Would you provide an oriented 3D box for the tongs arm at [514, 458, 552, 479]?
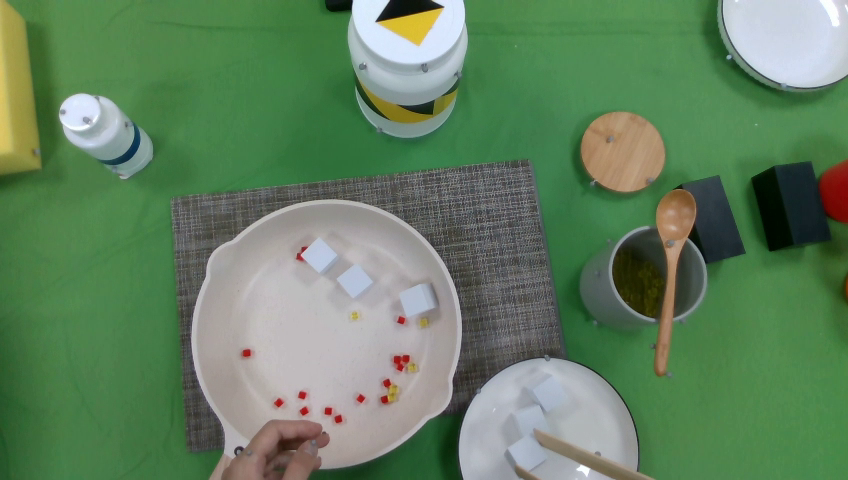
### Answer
[{"bbox_3d":[0.243,0.269,0.516,0.051,0.381,0.027,-37,128,-31],"label":"tongs arm"}]

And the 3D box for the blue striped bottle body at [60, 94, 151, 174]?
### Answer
[{"bbox_3d":[-0.366,-0.123,0.694,0.063,0.121,0.063,1,79,-3],"label":"blue striped bottle body"}]

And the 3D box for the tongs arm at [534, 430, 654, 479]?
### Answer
[{"bbox_3d":[0.260,0.254,0.530,0.028,0.384,0.028,-37,127,-35],"label":"tongs arm"}]

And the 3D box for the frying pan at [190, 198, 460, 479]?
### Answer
[{"bbox_3d":[-0.163,0.181,0.655,0.306,0.103,0.486,33,71,4],"label":"frying pan"}]

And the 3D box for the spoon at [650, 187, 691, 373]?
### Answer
[{"bbox_3d":[0.249,0.041,0.627,0.042,0.021,0.193,9,83,-6],"label":"spoon"}]

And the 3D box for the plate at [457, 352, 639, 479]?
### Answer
[{"bbox_3d":[0.140,0.234,0.699,0.208,0.039,0.207,1,81,-3],"label":"plate"}]

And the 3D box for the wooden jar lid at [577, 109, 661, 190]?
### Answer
[{"bbox_3d":[0.249,-0.115,0.781,0.108,0.021,0.108,1,81,-3],"label":"wooden jar lid"}]

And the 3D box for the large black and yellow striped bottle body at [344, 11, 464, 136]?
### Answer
[{"bbox_3d":[-0.023,-0.212,0.700,0.131,0.184,0.130,1,79,-3],"label":"large black and yellow striped bottle body"}]

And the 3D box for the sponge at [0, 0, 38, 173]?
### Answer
[{"bbox_3d":[-0.549,-0.182,0.723,0.118,0.061,0.206,-12,81,-6],"label":"sponge"}]

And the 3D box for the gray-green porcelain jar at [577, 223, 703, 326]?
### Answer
[{"bbox_3d":[0.239,0.045,0.697,0.106,0.127,0.105,1,79,-3],"label":"gray-green porcelain jar"}]

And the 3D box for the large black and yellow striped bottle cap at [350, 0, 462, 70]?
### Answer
[{"bbox_3d":[-0.018,-0.230,0.618,0.115,0.019,0.114,1,81,-3],"label":"large black and yellow striped bottle cap"}]

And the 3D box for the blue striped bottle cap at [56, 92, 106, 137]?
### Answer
[{"bbox_3d":[-0.365,-0.134,0.644,0.044,0.020,0.044,1,81,-3],"label":"blue striped bottle cap"}]

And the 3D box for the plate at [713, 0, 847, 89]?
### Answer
[{"bbox_3d":[0.490,-0.298,0.820,0.209,0.038,0.208,1,79,-3],"label":"plate"}]
